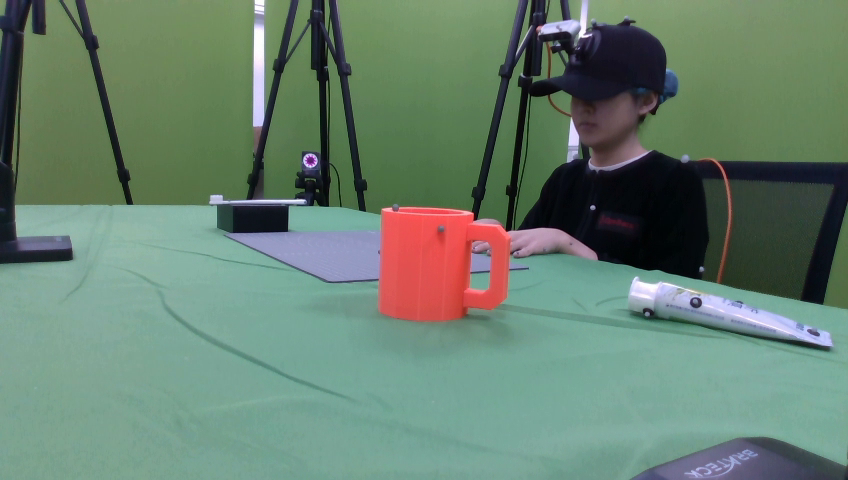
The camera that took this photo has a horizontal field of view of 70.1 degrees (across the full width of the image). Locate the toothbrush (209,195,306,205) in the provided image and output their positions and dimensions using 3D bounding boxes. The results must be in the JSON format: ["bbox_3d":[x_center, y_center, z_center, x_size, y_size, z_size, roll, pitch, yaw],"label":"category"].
[{"bbox_3d":[-0.303,-0.073,1.117,0.183,0.016,0.014,-2,5,-36],"label":"toothbrush"}]

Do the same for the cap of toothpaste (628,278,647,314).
[{"bbox_3d":[0.209,0.055,0.589,0.011,0.037,0.037,11,10,28],"label":"cap of toothpaste"}]

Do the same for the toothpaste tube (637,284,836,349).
[{"bbox_3d":[0.275,0.070,0.550,0.164,0.034,0.055,11,15,29],"label":"toothpaste tube"}]

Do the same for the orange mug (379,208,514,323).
[{"bbox_3d":[0.019,0.021,0.557,0.126,0.100,0.084,1,6,20],"label":"orange mug"}]
